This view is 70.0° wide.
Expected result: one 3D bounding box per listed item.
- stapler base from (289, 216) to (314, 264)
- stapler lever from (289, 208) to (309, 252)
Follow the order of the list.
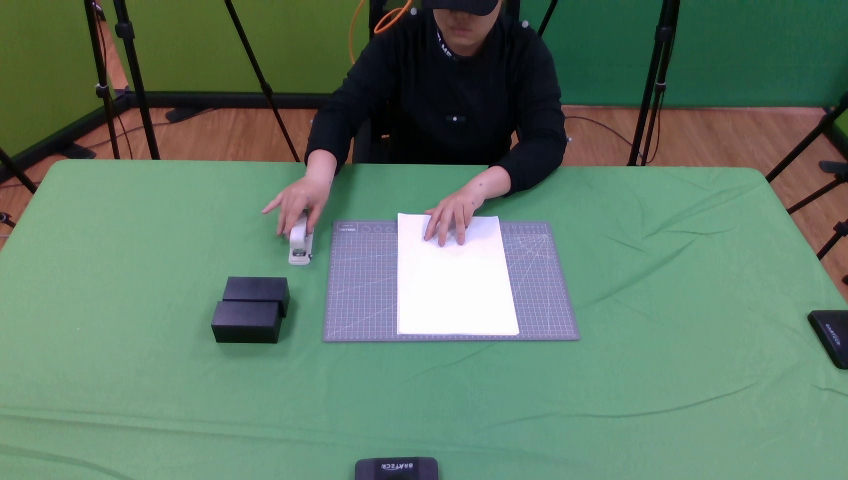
[{"bbox_3d":[-0.240,-0.007,1.185,0.041,0.024,0.129,1,44,-5],"label":"stapler base"},{"bbox_3d":[-0.240,-0.026,1.168,0.027,0.040,0.117,1,44,-5],"label":"stapler lever"}]
